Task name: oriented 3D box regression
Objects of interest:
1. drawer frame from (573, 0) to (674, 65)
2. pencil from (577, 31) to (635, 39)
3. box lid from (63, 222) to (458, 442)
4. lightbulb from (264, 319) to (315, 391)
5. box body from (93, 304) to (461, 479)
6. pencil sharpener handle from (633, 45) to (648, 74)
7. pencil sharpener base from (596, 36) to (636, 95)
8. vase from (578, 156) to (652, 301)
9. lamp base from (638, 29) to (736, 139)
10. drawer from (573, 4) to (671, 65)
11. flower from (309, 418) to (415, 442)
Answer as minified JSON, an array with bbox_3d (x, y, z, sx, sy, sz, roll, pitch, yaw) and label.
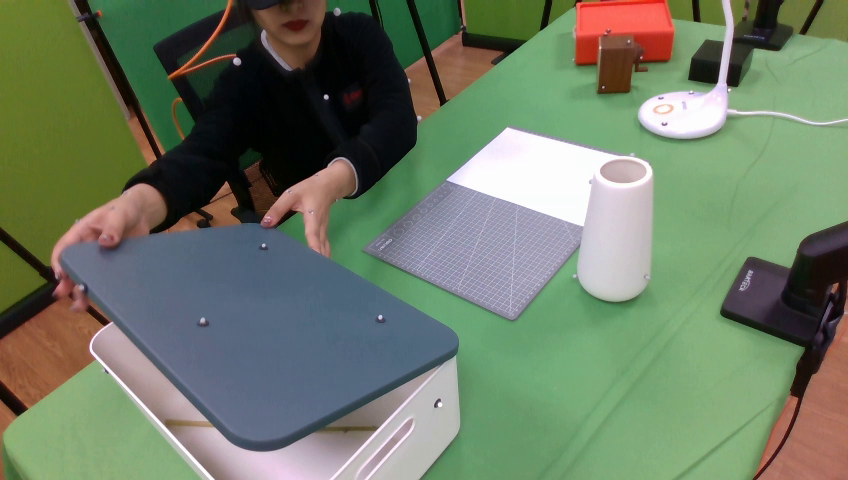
[{"bbox_3d":[0.464,-0.492,1.434,0.213,0.083,0.201,1,40,12],"label":"drawer frame"},{"bbox_3d":[0.431,-0.489,1.443,0.012,0.012,0.192,-25,30,-18],"label":"pencil"},{"bbox_3d":[-0.172,0.063,0.633,0.368,0.015,0.265,27,25,34],"label":"box lid"},{"bbox_3d":[-0.175,0.154,0.806,0.060,0.060,0.107,-24,58,-17],"label":"lightbulb"},{"bbox_3d":[-0.162,0.170,0.708,0.361,0.161,0.255,25,50,34],"label":"box body"},{"bbox_3d":[0.454,-0.378,1.262,0.030,0.068,0.036,1,47,13],"label":"pencil sharpener handle"},{"bbox_3d":[0.406,-0.369,1.280,0.076,0.107,0.061,1,41,13],"label":"pencil sharpener base"},{"bbox_3d":[0.261,-0.011,0.812,0.098,0.201,0.097,-4,40,4],"label":"vase"},{"bbox_3d":[0.501,-0.302,1.125,0.179,0.181,0.160,-4,40,3],"label":"lamp base"},{"bbox_3d":[0.461,-0.490,1.435,0.211,0.073,0.194,2,40,12],"label":"drawer"},{"bbox_3d":[-0.153,0.230,0.743,0.360,0.038,0.044,-4,50,16],"label":"flower"}]
